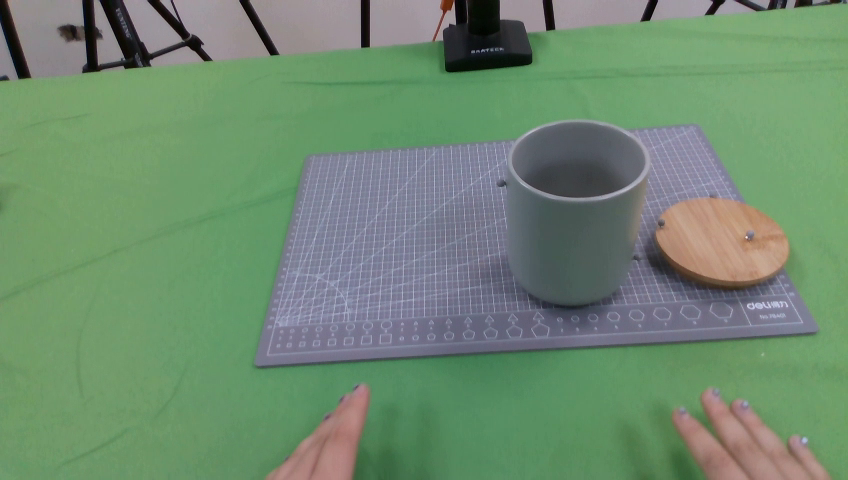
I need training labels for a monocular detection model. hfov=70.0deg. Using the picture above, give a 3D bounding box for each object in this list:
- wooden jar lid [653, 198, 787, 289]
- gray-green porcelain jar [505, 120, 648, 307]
[{"bbox_3d":[0.258,0.004,0.536,0.108,0.021,0.107,-4,42,4],"label":"wooden jar lid"},{"bbox_3d":[0.120,-0.017,0.497,0.106,0.128,0.105,-4,43,4],"label":"gray-green porcelain jar"}]
